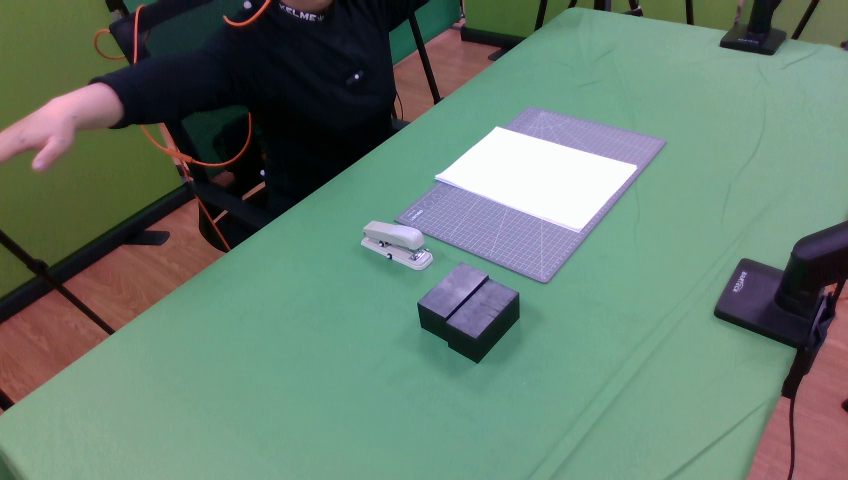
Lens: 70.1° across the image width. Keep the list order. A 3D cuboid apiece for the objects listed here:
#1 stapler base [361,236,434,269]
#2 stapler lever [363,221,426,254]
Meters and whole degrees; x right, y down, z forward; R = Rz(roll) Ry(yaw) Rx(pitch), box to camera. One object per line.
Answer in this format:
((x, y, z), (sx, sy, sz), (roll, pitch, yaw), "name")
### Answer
((-0.044, 0.009, 0.974), (0.129, 0.024, 0.041), (21, 46, 32), "stapler base")
((-0.048, -0.011, 0.958), (0.117, 0.040, 0.027), (21, 46, 32), "stapler lever")
